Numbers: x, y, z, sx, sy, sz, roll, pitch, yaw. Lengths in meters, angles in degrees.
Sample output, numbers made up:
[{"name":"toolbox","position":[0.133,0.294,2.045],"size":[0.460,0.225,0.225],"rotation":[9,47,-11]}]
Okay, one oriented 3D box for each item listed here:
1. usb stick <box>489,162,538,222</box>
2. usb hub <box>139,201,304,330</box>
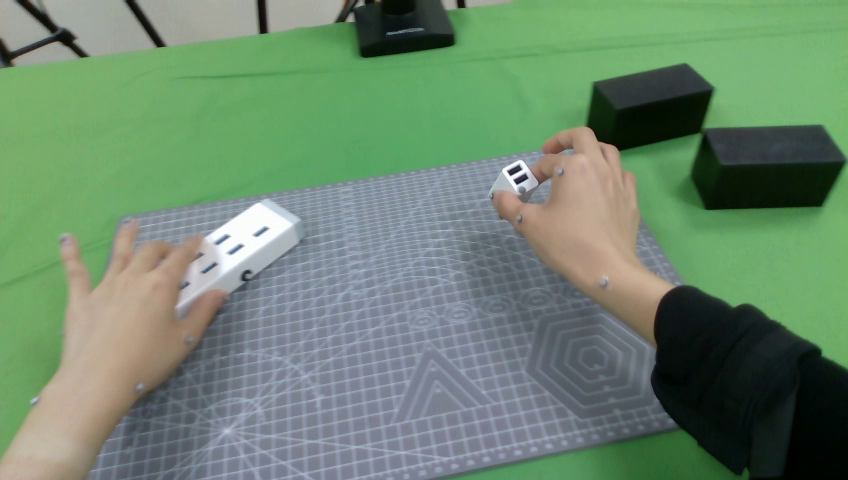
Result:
[{"name":"usb stick","position":[0.069,-0.035,0.483],"size":[0.021,0.059,0.027],"rotation":[-31,72,-17]},{"name":"usb hub","position":[-0.161,0.017,0.492],"size":[0.049,0.025,0.125],"rotation":[29,54,30]}]
